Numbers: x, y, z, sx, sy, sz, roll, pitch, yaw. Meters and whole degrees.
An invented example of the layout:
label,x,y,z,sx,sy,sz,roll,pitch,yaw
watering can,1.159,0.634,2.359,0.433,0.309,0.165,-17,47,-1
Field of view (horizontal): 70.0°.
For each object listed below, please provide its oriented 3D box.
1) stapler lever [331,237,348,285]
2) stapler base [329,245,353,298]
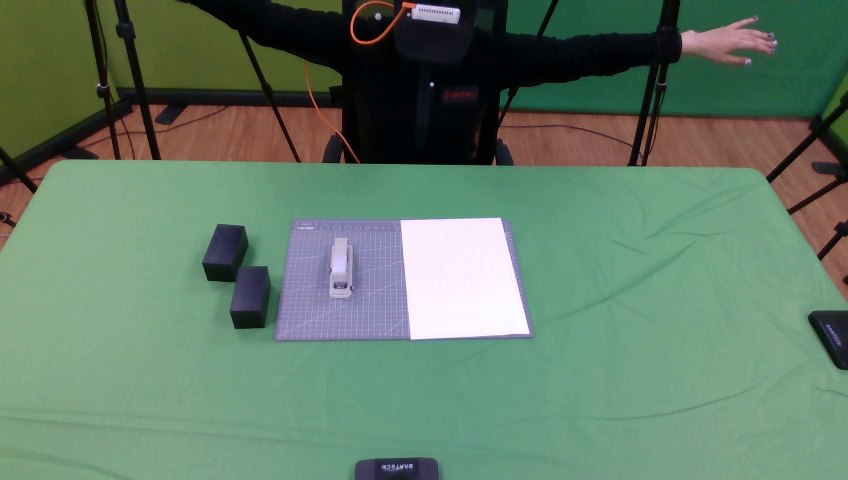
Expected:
label,x,y,z,sx,sy,sz,roll,pitch,yaw
stapler lever,-0.155,0.032,1.116,0.027,0.040,0.117,1,44,-6
stapler base,-0.155,0.051,1.133,0.041,0.024,0.129,1,44,-6
